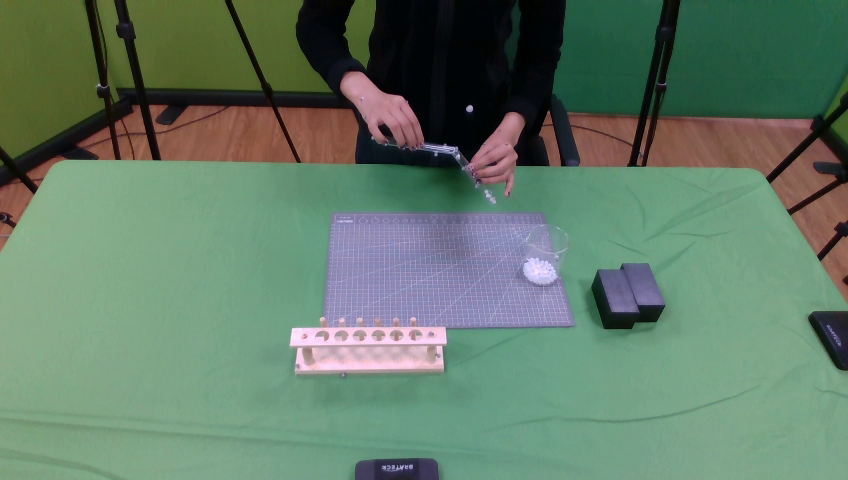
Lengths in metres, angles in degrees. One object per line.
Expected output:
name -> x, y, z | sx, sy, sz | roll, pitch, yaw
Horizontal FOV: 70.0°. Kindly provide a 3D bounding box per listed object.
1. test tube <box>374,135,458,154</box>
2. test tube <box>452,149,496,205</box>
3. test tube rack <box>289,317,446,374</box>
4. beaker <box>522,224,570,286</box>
test tube -> -0.013, -0.168, 1.067 | 0.150, 0.017, 0.017 | 5, 45, -15
test tube -> 0.096, -0.116, 1.133 | 0.017, 0.151, 0.017 | -23, 41, 23
test tube rack -> -0.089, 0.167, 0.988 | 0.242, 0.085, 0.066 | 0, 46, -4
beaker -> 0.221, 0.032, 1.129 | 0.084, 0.101, 0.073 | -6, 46, -9
